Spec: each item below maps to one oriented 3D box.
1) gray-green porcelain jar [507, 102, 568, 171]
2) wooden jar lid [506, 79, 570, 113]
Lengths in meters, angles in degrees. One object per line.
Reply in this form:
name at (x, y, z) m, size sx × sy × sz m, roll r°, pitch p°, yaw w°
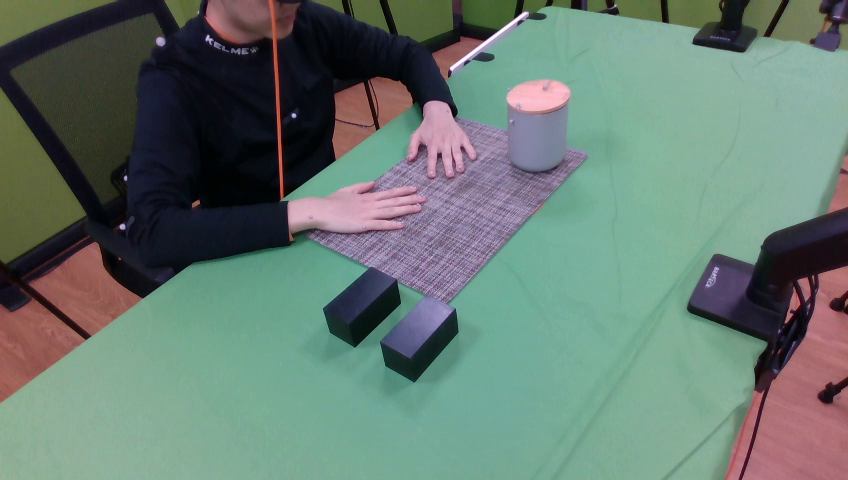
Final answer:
gray-green porcelain jar at (0.203, -0.196, 1.081) m, size 0.106 × 0.127 × 0.105 m, roll -4°, pitch 41°, yaw 4°
wooden jar lid at (0.197, -0.243, 1.041) m, size 0.108 × 0.021 × 0.108 m, roll -7°, pitch 41°, yaw 6°
